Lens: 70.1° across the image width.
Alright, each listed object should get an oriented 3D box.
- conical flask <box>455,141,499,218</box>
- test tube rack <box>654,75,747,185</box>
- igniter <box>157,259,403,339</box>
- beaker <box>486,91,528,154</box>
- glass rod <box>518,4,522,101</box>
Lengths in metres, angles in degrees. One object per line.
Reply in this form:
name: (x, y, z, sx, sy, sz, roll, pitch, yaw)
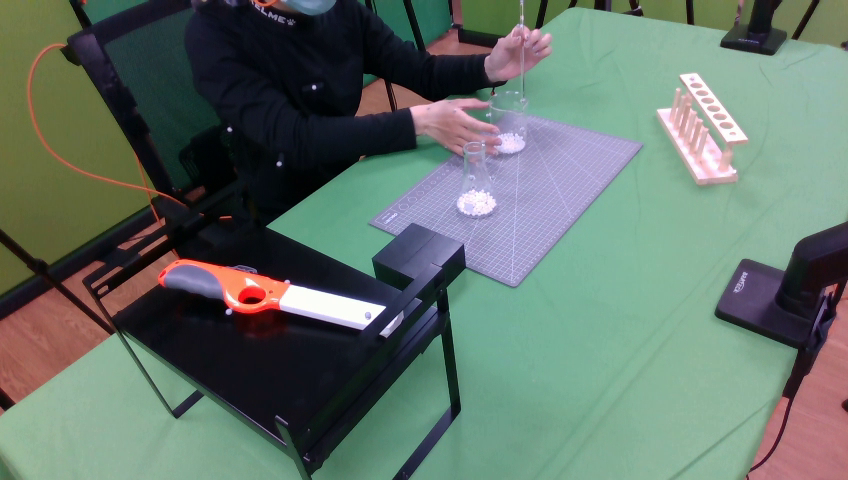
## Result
conical flask: (0.085, -0.103, 0.999, 0.075, 0.122, 0.075, -4, 41, 4)
test tube rack: (0.491, -0.205, 1.092, 0.067, 0.085, 0.241, -5, 40, 3)
igniter: (-0.157, 0.059, 0.638, 0.275, 0.025, 0.057, 11, 43, 14)
beaker: (0.160, -0.218, 1.142, 0.074, 0.101, 0.083, -22, 43, -16)
glass rod: (0.177, -0.346, 1.111, 0.008, 0.008, 0.199, 0, 75, 9)
